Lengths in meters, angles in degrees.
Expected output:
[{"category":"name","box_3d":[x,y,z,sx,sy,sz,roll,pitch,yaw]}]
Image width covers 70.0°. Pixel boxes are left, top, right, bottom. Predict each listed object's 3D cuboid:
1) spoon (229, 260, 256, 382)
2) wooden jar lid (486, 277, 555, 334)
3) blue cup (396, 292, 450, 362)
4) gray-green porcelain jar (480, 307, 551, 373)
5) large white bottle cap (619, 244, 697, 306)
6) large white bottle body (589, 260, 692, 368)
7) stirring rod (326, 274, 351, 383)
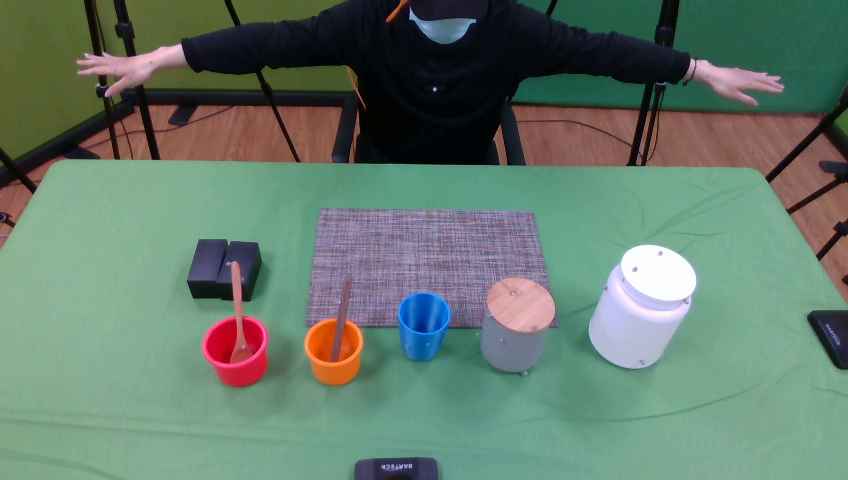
[{"category":"spoon","box_3d":[-0.294,0.129,0.966,0.042,0.021,0.193,-4,91,-9]},{"category":"wooden jar lid","box_3d":[0.150,0.105,0.948,0.108,0.021,0.107,3,47,-3]},{"category":"blue cup","box_3d":[-0.005,0.149,0.997,0.093,0.101,0.092,3,47,-3]},{"category":"gray-green porcelain jar","box_3d":[0.148,0.148,0.992,0.106,0.127,0.105,2,46,-2]},{"category":"large white bottle cap","box_3d":[0.363,0.052,0.939,0.115,0.018,0.114,2,47,-2]},{"category":"large white bottle body","box_3d":[0.358,0.110,1.000,0.131,0.185,0.130,2,46,-2]},{"category":"stirring rod","box_3d":[-0.137,0.142,0.971,0.014,0.006,0.176,9,89,1]}]
